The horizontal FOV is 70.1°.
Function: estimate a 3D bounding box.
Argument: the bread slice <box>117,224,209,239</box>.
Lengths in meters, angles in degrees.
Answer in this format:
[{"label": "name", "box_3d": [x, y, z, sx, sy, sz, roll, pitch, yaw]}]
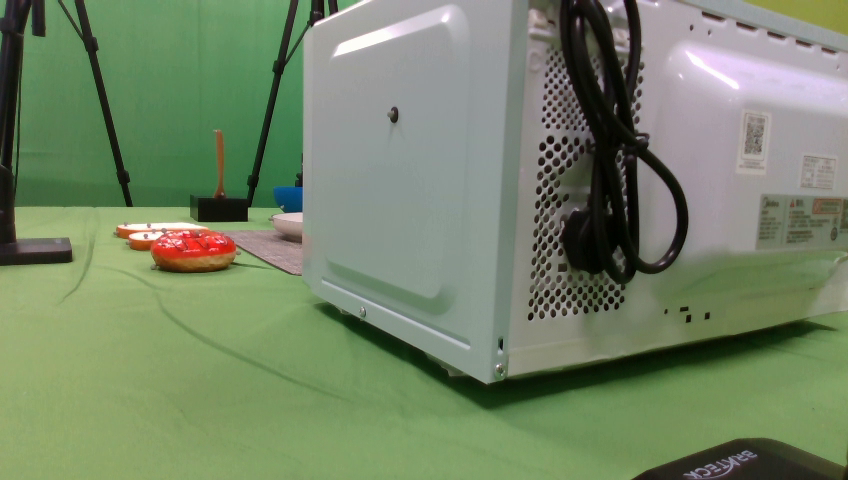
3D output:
[{"label": "bread slice", "box_3d": [-0.443, -0.015, 1.023, 0.132, 0.019, 0.104, -4, 9, -45]}]

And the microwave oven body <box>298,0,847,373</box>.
[{"label": "microwave oven body", "box_3d": [0.151, -0.055, 0.542, 0.444, 0.260, 0.324, -1, 7, -33]}]

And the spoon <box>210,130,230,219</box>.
[{"label": "spoon", "box_3d": [-0.436, -0.138, 1.296, 0.042, 0.193, 0.021, -4, 23, -28]}]

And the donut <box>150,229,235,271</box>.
[{"label": "donut", "box_3d": [-0.285, 0.013, 0.747, 0.099, 0.048, 0.099, 3, 10, 0]}]

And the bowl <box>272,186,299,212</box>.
[{"label": "bowl", "box_3d": [-0.254, -0.075, 1.318, 0.151, 0.077, 0.151, 2, 7, 0]}]

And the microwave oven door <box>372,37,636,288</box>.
[{"label": "microwave oven door", "box_3d": [0.110, -0.080, 0.686, 0.358, 0.243, 0.039, -2, 9, -33]}]

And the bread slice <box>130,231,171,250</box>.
[{"label": "bread slice", "box_3d": [-0.370, 0.001, 0.916, 0.135, 0.018, 0.106, -1, 7, -32]}]

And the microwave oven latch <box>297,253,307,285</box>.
[{"label": "microwave oven latch", "box_3d": [-0.082, 0.027, 0.582, 0.079, 0.029, 0.030, -1, 7, -32]}]

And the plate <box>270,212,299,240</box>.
[{"label": "plate", "box_3d": [-0.162, -0.022, 1.058, 0.208, 0.039, 0.207, 2, 7, 0]}]
